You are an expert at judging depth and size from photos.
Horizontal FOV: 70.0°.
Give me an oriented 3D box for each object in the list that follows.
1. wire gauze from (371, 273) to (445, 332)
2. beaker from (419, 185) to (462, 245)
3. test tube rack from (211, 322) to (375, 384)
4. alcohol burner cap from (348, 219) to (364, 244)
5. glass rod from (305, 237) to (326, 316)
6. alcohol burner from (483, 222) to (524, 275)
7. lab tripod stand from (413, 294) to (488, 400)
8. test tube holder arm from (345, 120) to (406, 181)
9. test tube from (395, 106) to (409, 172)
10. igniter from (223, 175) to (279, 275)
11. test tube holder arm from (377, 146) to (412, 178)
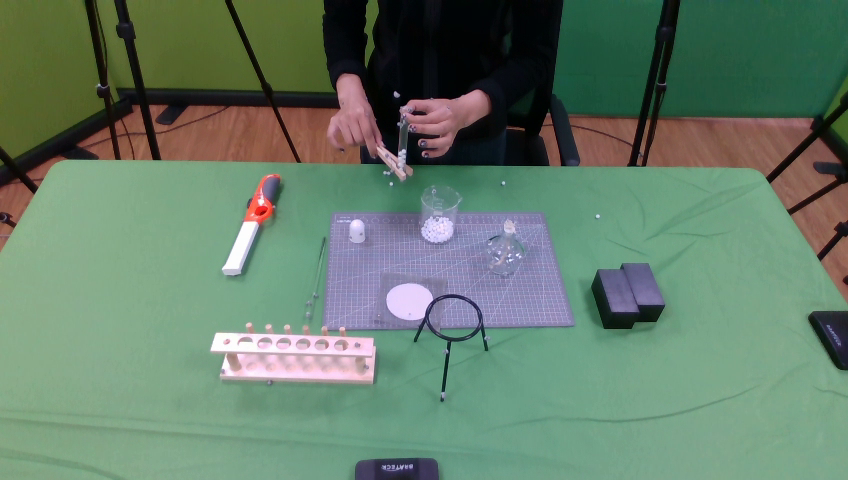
[{"bbox_3d":[-0.028,0.108,1.100,0.125,0.011,0.121,7,45,4],"label":"wire gauze"},{"bbox_3d":[0.029,-0.047,1.191,0.084,0.101,0.073,-5,47,-10],"label":"beaker"},{"bbox_3d":[-0.203,0.176,0.969,0.242,0.085,0.066,3,46,-2],"label":"test tube rack"},{"bbox_3d":[-0.134,-0.019,1.190,0.034,0.048,0.033,2,46,-2],"label":"alcohol burner cap"},{"bbox_3d":[-0.202,0.063,1.131,0.008,0.008,0.198,4,44,0],"label":"glass rod"},{"bbox_3d":[0.152,0.009,1.135,0.078,0.119,0.077,4,46,-4],"label":"alcohol burner"},{"bbox_3d":[0.044,0.159,0.972,0.148,0.132,0.147,2,44,-2],"label":"lab tripod stand"},{"bbox_3d":[-0.094,-0.172,1.148,0.013,0.015,0.177,-29,62,-34],"label":"test tube holder arm"},{"bbox_3d":[-0.040,-0.173,1.081,0.017,0.151,0.017,4,46,-4],"label":"test tube"},{"bbox_3d":[-0.341,-0.039,1.207,0.057,0.025,0.275,-1,45,8],"label":"igniter"},{"bbox_3d":[-0.059,-0.147,1.135,0.087,0.015,0.010,37,51,17],"label":"test tube holder arm"}]
